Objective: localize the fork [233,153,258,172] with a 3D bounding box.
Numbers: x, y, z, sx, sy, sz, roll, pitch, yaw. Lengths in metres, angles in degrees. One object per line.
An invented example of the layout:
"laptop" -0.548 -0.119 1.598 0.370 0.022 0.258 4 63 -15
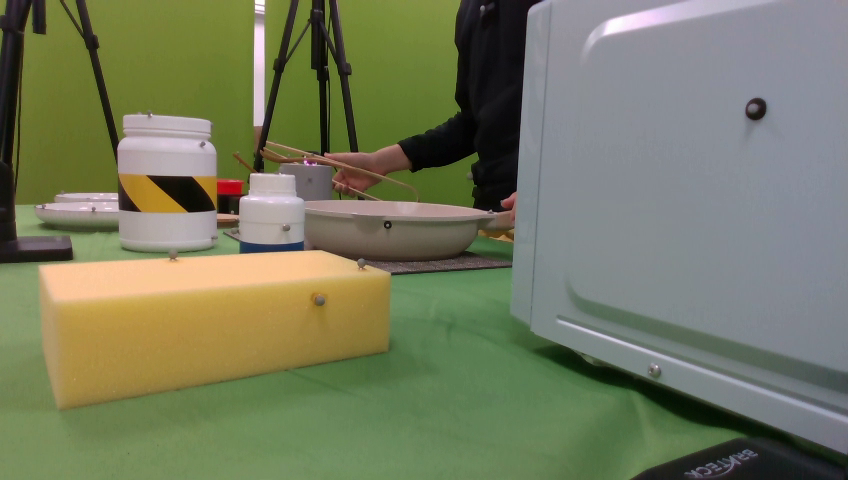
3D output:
"fork" -0.396 -0.143 1.486 0.028 0.018 0.208 21 -25 45

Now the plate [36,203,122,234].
"plate" -0.571 -0.040 1.083 0.208 0.039 0.207 2 8 0

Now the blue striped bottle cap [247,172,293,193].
"blue striped bottle cap" -0.152 -0.057 0.598 0.044 0.020 0.044 3 7 0

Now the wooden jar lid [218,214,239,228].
"wooden jar lid" -0.404 -0.037 1.169 0.108 0.020 0.108 3 7 0

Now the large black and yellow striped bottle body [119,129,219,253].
"large black and yellow striped bottle body" -0.367 -0.080 0.876 0.131 0.184 0.130 2 7 0

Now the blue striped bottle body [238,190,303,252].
"blue striped bottle body" -0.153 -0.007 0.606 0.063 0.120 0.063 2 8 0

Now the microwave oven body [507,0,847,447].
"microwave oven body" 0.331 -0.042 0.425 0.444 0.260 0.324 -2 8 -31

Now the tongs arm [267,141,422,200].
"tongs arm" -0.185 -0.156 1.384 0.384 0.050 0.026 15 -12 7

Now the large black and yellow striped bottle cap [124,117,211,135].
"large black and yellow striped bottle cap" -0.366 -0.163 0.866 0.115 0.019 0.115 3 7 0

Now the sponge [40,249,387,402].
"sponge" -0.142 0.047 0.420 0.208 0.061 0.117 -3 8 -36

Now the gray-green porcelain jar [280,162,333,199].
"gray-green porcelain jar" -0.238 -0.092 1.221 0.106 0.126 0.106 2 7 0

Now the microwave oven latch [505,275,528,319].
"microwave oven latch" 0.100 0.041 0.471 0.079 0.029 0.030 -1 7 -28

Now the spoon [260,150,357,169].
"spoon" -0.231 -0.162 1.221 0.194 0.021 0.041 3 2 -16

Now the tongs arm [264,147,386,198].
"tongs arm" -0.191 -0.142 1.381 0.387 0.028 0.028 22 -15 8

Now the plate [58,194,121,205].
"plate" -0.671 -0.074 1.310 0.209 0.038 0.209 2 8 0

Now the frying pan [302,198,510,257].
"frying pan" 0.050 -0.035 0.915 0.487 0.102 0.307 -5 7 11

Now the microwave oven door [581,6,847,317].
"microwave oven door" 0.295 -0.067 0.569 0.358 0.243 0.039 -3 8 -31
